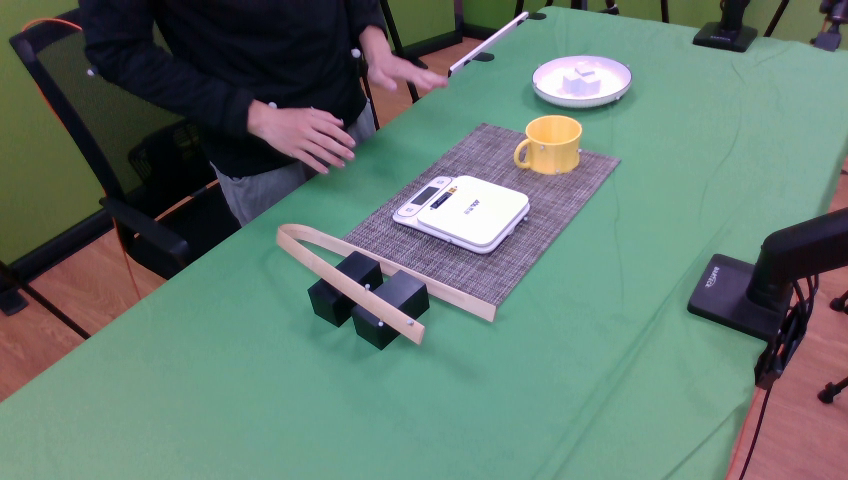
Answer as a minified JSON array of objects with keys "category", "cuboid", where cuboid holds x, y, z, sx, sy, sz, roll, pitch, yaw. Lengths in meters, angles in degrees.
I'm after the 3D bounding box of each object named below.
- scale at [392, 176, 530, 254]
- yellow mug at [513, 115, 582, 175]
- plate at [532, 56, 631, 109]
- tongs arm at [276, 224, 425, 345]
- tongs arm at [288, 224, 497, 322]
[{"category":"scale","cuboid":[0.060,-0.050,1.006,0.199,0.032,0.149,22,48,30]},{"category":"yellow mug","cuboid":[0.220,-0.168,1.094,0.131,0.064,0.099,-21,42,-14]},{"category":"plate","cuboid":[0.336,-0.336,1.301,0.207,0.039,0.206,-4,41,4]},{"category":"tongs arm","cuboid":[-0.114,0.050,0.856,0.051,0.026,0.381,-7,24,-44]},{"category":"tongs arm","cuboid":[-0.060,0.043,0.918,0.384,0.028,0.028,21,24,28]}]
